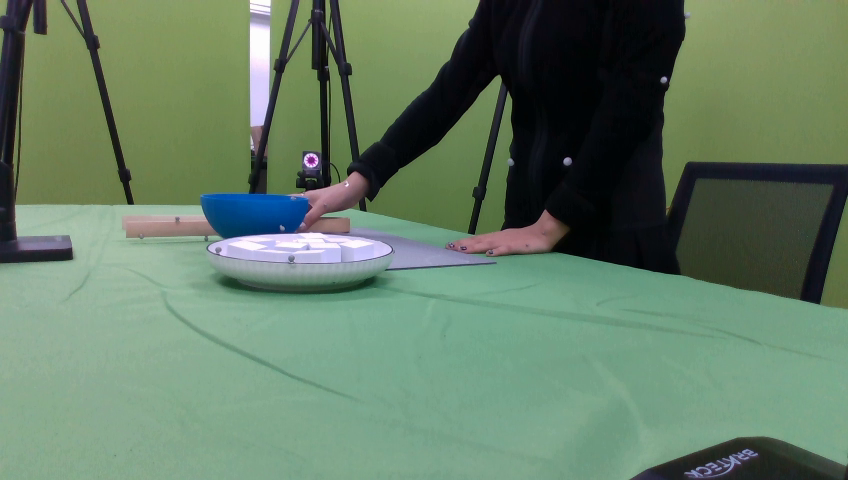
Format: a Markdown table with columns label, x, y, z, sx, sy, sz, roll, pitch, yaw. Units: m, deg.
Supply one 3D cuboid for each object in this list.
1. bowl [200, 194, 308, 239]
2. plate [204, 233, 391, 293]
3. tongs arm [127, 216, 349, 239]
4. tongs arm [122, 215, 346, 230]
| label | x | y | z | sx | sy | sz | roll | pitch | yaw |
| --- | --- | --- | --- | --- | --- | --- | --- | --- | --- |
| bowl | -0.245 | -0.025 | 0.879 | 0.151 | 0.077 | 0.151 | 2 | 7 | 0 |
| plate | -0.143 | 0.025 | 0.697 | 0.208 | 0.039 | 0.207 | 2 | 9 | 0 |
| tongs arm | -0.294 | -0.023 | 1.027 | 0.387 | 0.026 | 0.050 | -3 | 5 | -34 |
| tongs arm | -0.335 | -0.032 | 1.103 | 0.389 | 0.027 | 0.028 | -1 | 1 | -19 |
